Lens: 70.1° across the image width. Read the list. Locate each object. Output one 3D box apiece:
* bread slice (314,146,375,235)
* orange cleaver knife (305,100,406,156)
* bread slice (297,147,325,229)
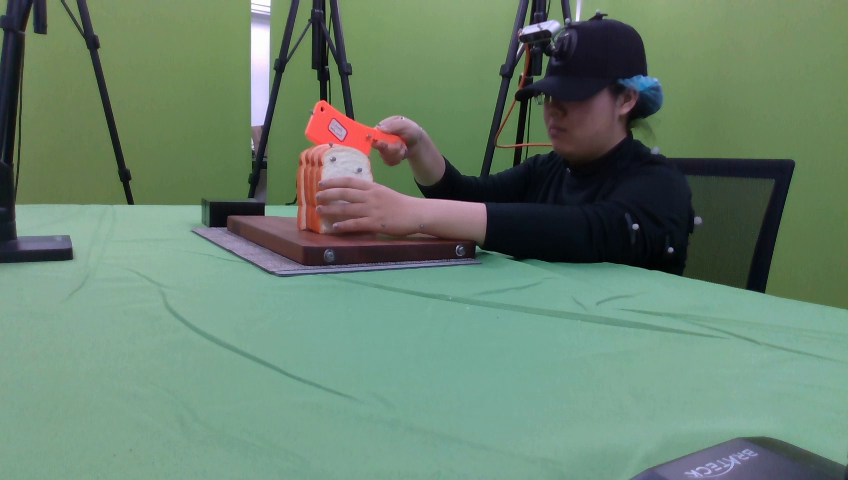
[{"bbox_3d":[-0.124,-0.076,0.920,0.107,0.134,0.018,-9,9,-44],"label":"bread slice"},{"bbox_3d":[-0.108,-0.168,0.996,0.012,0.077,0.212,2,-6,42],"label":"orange cleaver knife"},{"bbox_3d":[-0.156,-0.082,0.958,0.019,0.131,0.105,-5,-3,44],"label":"bread slice"}]
